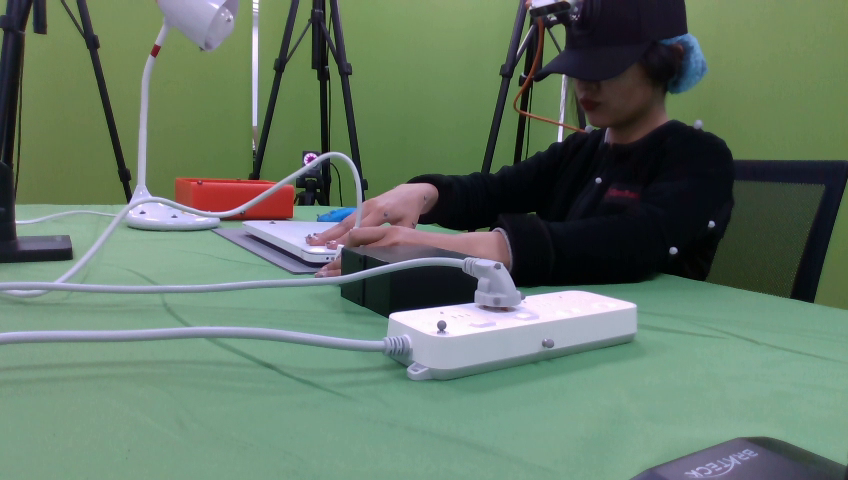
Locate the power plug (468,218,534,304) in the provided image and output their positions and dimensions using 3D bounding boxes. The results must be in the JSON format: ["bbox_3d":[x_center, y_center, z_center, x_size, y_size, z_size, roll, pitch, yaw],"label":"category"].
[{"bbox_3d":[0.054,0.013,0.454,0.035,0.072,0.052,-23,-4,-41],"label":"power plug"}]

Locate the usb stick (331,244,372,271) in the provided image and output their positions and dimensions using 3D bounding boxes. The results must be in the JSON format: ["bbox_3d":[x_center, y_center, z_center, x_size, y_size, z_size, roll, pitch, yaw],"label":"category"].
[{"bbox_3d":[-0.088,0.019,0.714,0.021,0.027,0.059,2,4,-44],"label":"usb stick"}]

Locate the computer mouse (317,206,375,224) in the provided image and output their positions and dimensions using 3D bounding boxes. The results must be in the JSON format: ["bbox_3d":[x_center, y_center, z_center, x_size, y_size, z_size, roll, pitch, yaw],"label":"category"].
[{"bbox_3d":[-0.163,-0.048,1.264,0.118,0.041,0.062,-6,12,-28],"label":"computer mouse"}]

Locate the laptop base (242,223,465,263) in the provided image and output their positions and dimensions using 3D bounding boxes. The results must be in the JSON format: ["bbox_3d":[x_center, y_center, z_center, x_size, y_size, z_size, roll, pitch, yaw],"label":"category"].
[{"bbox_3d":[-0.126,0.003,0.946,0.237,0.023,0.352,2,7,-31],"label":"laptop base"}]

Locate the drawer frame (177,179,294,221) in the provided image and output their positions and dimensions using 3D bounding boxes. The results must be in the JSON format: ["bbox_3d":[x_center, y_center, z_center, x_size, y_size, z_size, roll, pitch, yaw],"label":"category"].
[{"bbox_3d":[-0.422,-0.092,1.352,0.215,0.082,0.200,-3,10,-32],"label":"drawer frame"}]

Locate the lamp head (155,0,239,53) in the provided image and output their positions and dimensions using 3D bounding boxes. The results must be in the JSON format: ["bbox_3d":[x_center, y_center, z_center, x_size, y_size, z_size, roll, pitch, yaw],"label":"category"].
[{"bbox_3d":[-0.406,-0.402,1.060,0.123,0.112,0.112,25,5,-6],"label":"lamp head"}]

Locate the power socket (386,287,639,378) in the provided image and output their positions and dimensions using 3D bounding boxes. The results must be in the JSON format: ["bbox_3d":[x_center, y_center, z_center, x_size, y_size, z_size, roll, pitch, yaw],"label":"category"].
[{"bbox_3d":[0.074,0.064,0.461,0.228,0.032,0.072,-4,8,-34],"label":"power socket"}]

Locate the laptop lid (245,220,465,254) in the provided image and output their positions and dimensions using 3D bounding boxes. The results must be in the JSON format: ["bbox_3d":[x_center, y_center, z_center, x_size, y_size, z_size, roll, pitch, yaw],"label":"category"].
[{"bbox_3d":[-0.124,-0.008,0.946,0.243,0.013,0.355,1,7,-29],"label":"laptop lid"}]

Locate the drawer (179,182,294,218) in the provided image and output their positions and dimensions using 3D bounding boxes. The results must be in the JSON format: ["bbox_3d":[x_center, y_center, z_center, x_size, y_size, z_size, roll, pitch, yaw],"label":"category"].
[{"bbox_3d":[-0.420,-0.091,1.354,0.213,0.073,0.193,-3,10,-31],"label":"drawer"}]

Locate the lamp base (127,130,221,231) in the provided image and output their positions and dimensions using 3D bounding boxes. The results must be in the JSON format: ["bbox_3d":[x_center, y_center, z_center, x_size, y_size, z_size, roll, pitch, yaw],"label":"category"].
[{"bbox_3d":[-0.469,-0.112,1.108,0.179,0.180,0.160,0,7,3],"label":"lamp base"}]
